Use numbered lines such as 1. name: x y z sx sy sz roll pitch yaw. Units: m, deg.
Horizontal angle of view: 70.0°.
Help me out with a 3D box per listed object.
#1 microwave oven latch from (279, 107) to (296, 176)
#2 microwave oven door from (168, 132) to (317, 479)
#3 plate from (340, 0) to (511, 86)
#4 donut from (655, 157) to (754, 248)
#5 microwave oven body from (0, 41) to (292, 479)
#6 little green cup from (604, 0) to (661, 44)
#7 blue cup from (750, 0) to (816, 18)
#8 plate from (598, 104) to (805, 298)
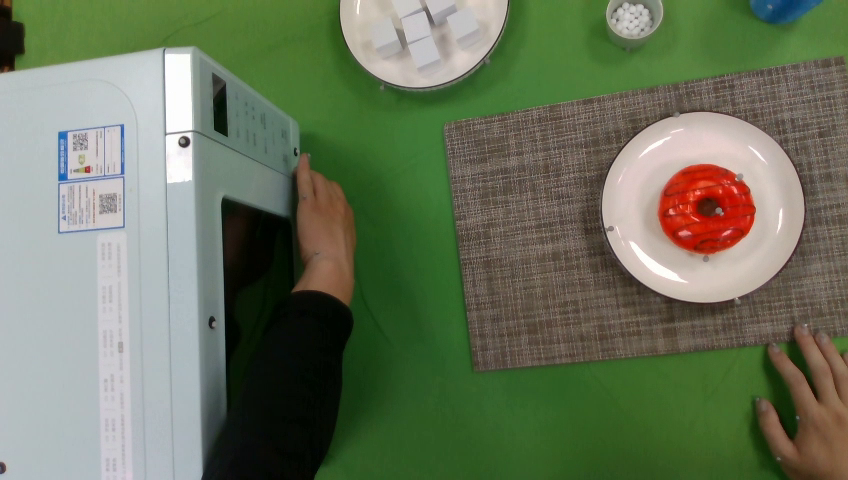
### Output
1. microwave oven latch: -0.172 -0.119 0.738 0.030 0.029 0.079 -1 86 10
2. microwave oven door: -0.177 0.092 0.621 0.039 0.244 0.355 -5 85 10
3. plate: 0.002 -0.285 0.737 0.207 0.039 0.207 -1 86 11
4. donut: 0.299 -0.040 0.650 0.099 0.048 0.099 -1 86 13
5. microwave oven body: -0.322 0.062 0.655 0.325 0.261 0.440 -5 86 10
6. little green cup: 0.236 -0.256 0.692 0.061 0.039 0.061 -1 85 11
7. blue cup: 0.388 -0.281 0.634 0.092 0.100 0.092 0 87 10
8. plate: 0.296 -0.041 0.662 0.209 0.038 0.208 -1 86 11
